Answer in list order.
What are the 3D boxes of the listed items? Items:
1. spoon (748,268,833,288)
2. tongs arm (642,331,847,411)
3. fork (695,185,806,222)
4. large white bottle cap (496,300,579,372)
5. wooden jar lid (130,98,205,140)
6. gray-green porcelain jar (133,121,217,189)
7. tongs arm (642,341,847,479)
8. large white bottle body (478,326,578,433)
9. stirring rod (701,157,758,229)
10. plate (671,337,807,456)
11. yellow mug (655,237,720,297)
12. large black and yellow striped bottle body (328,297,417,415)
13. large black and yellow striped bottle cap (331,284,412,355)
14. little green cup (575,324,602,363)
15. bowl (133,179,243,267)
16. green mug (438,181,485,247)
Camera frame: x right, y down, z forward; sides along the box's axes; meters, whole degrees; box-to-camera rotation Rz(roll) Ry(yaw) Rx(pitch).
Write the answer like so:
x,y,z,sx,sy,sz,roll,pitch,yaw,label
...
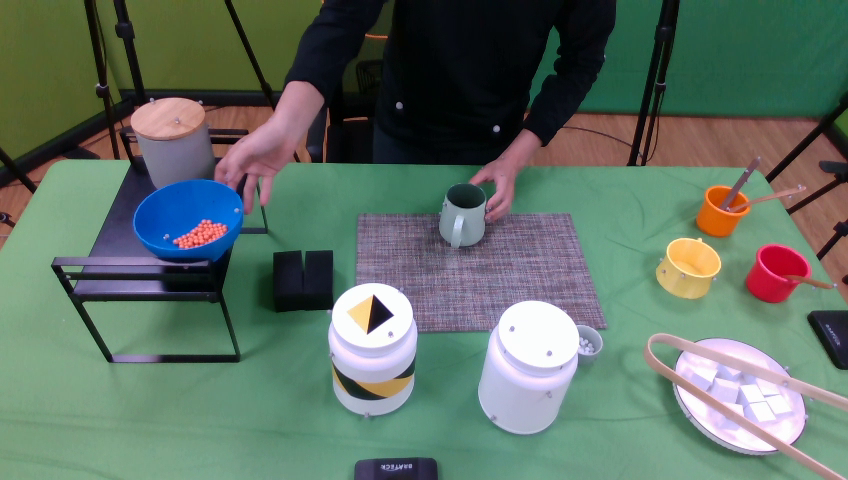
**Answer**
x,y,z,sx,sy,sz,roll,pitch,yaw,label
0.660,0.068,1.098,0.041,0.193,0.021,-4,91,-6,spoon
0.546,0.227,0.968,0.384,0.026,0.050,22,52,13,tongs arm
0.658,-0.074,1.230,0.207,0.019,0.028,-23,36,37,fork
0.160,0.133,0.852,0.115,0.018,0.114,3,46,-3,large white bottle cap
-0.393,-0.183,0.934,0.108,0.021,0.107,2,43,-2,wooden jar lid
-0.397,-0.141,0.980,0.106,0.127,0.105,2,47,-2,gray-green porcelain jar
0.504,0.278,0.918,0.386,0.028,0.028,34,59,22,tongs arm
0.156,0.192,0.913,0.131,0.185,0.130,2,46,-2,large white bottle body
0.634,-0.097,1.257,0.014,0.006,0.176,38,97,30,stirring rod
0.503,0.254,0.984,0.208,0.039,0.206,2,46,-2,plate
0.509,0.041,1.167,0.099,0.064,0.130,24,48,18,yellow mug
-0.078,0.167,0.920,0.131,0.185,0.130,2,46,-2,large black and yellow striped bottle body
-0.073,0.111,0.858,0.115,0.019,0.114,2,46,-2,large black and yellow striped bottle cap
0.269,0.179,1.035,0.061,0.039,0.061,2,45,-2,little green cup
-0.339,-0.013,0.895,0.151,0.077,0.150,2,46,-2,bowl
0.071,-0.039,1.177,0.092,0.105,0.124,12,47,7,green mug
